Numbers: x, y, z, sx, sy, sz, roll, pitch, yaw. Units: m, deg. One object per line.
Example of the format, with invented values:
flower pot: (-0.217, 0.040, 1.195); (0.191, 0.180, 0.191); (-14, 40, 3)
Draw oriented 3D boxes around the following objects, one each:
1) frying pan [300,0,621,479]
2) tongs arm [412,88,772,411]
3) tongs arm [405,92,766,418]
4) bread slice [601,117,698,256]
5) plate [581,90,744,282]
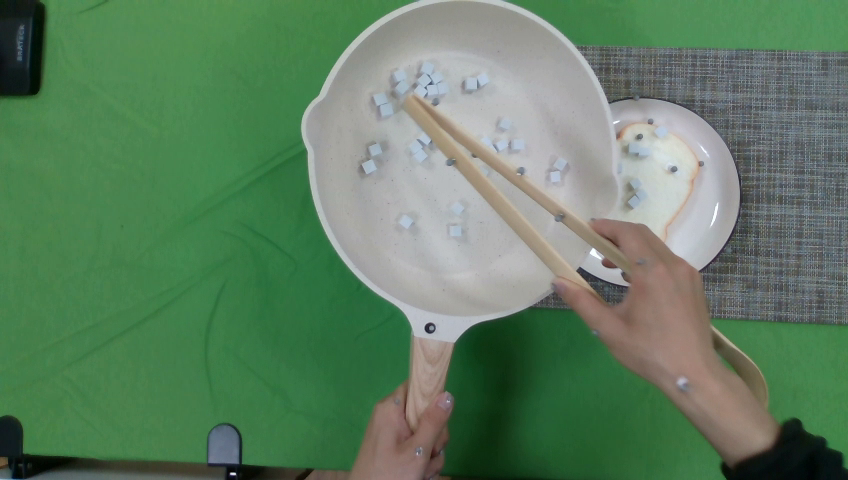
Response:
frying pan: (0.019, 0.026, 0.562); (0.308, 0.102, 0.486); (12, 83, -13)
tongs arm: (0.129, 0.004, 0.508); (0.384, 0.026, 0.050); (37, 69, 5)
tongs arm: (0.122, 0.011, 0.504); (0.386, 0.028, 0.028); (45, 67, 8)
bread slice: (0.233, -0.065, 0.664); (0.107, 0.018, 0.134); (26, 91, 5)
plate: (0.235, -0.057, 0.662); (0.207, 0.039, 0.207); (0, 87, 5)
